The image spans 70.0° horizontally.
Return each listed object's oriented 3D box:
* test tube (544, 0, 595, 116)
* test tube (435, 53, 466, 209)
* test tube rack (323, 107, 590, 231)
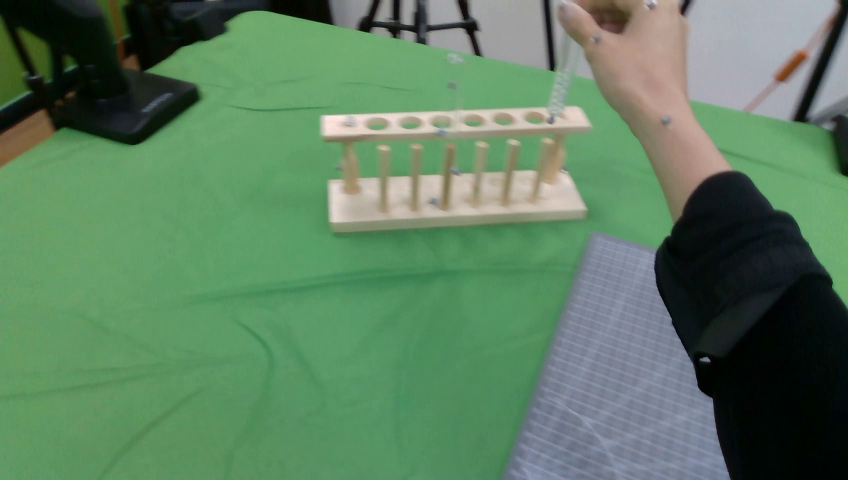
[{"bbox_3d":[0.114,-0.159,0.455,0.017,0.151,0.017,4,44,-4],"label":"test tube"},{"bbox_3d":[0.022,-0.089,0.523,0.017,0.152,0.017,2,41,-2],"label":"test tube"},{"bbox_3d":[0.031,-0.068,0.566,0.243,0.086,0.066,-3,43,-7],"label":"test tube rack"}]
